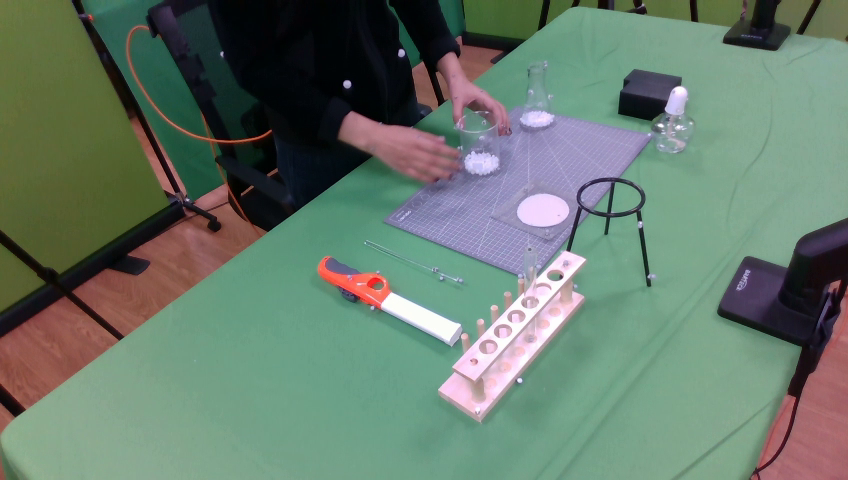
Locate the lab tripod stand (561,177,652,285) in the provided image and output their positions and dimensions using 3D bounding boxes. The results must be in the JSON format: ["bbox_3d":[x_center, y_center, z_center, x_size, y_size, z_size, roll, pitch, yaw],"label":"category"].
[{"bbox_3d":[0.263,-0.014,0.864,0.148,0.132,0.147,-7,38,6],"label":"lab tripod stand"}]

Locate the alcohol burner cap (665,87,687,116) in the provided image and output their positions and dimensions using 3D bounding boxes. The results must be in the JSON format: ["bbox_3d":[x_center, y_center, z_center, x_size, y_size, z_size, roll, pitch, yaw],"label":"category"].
[{"bbox_3d":[0.445,-0.244,1.060,0.034,0.048,0.033,-2,45,3],"label":"alcohol burner cap"}]

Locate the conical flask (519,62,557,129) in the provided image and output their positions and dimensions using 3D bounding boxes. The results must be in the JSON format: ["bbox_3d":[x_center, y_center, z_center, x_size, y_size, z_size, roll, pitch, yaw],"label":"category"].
[{"bbox_3d":[0.225,-0.287,1.198,0.075,0.122,0.075,-6,40,5],"label":"conical flask"}]

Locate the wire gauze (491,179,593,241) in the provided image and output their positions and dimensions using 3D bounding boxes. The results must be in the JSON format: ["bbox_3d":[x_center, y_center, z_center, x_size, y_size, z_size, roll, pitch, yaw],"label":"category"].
[{"bbox_3d":[0.198,-0.051,1.014,0.125,0.011,0.120,-38,48,-27],"label":"wire gauze"}]

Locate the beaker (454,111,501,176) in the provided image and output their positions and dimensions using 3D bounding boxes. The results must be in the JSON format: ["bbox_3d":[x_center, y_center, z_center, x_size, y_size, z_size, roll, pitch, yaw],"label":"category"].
[{"bbox_3d":[0.101,-0.174,1.106,0.084,0.101,0.073,-5,40,6],"label":"beaker"}]

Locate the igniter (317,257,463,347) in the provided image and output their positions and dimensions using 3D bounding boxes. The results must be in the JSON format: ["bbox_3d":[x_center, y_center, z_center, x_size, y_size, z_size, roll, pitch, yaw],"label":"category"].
[{"bbox_3d":[-0.061,0.086,0.891,0.274,0.025,0.057,23,59,33],"label":"igniter"}]

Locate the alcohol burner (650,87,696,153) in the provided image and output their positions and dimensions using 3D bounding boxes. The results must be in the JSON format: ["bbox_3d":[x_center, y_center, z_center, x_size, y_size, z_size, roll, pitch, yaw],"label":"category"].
[{"bbox_3d":[0.448,-0.217,1.084,0.078,0.119,0.077,-6,38,5],"label":"alcohol burner"}]

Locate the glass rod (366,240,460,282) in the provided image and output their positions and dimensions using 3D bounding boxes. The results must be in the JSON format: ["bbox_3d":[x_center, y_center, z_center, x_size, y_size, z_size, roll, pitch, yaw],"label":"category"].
[{"bbox_3d":[-0.022,0.032,0.961,0.198,0.008,0.008,21,49,35],"label":"glass rod"}]

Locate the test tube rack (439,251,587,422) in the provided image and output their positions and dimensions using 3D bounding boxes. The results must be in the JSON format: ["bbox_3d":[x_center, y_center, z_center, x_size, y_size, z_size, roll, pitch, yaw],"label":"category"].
[{"bbox_3d":[0.118,0.111,0.780,0.066,0.085,0.243,26,51,34],"label":"test tube rack"}]

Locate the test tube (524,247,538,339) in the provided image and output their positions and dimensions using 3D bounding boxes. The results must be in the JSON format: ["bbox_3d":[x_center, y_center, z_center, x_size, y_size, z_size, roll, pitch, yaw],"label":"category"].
[{"bbox_3d":[0.133,0.070,0.749,0.017,0.151,0.017,-5,38,4],"label":"test tube"}]
